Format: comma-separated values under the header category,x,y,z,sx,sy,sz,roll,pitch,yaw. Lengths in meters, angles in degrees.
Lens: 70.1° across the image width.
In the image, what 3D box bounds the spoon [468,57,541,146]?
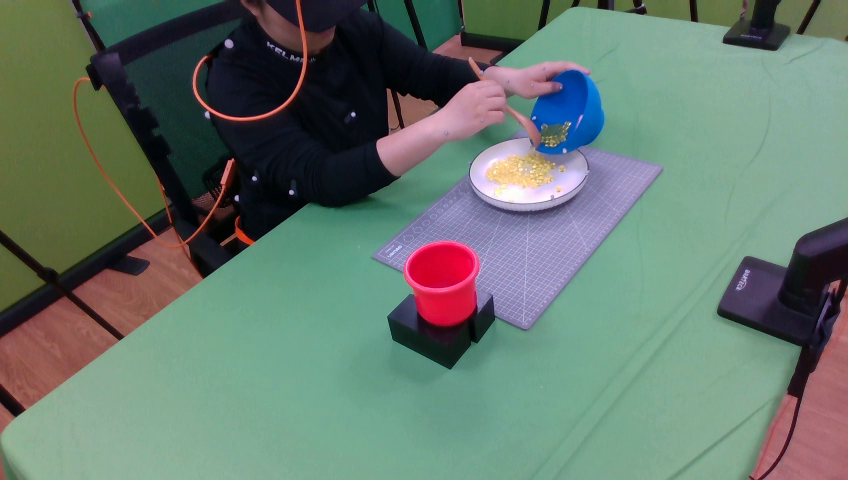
category,x,y,z,sx,sy,sz,roll,pitch,yaw
spoon,0.137,-0.233,1.025,0.021,0.194,0.041,-36,20,37

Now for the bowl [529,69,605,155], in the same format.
category,x,y,z,sx,sy,sz,roll,pitch,yaw
bowl,0.262,-0.213,1.060,0.077,0.151,0.150,16,31,-28

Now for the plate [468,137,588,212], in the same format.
category,x,y,z,sx,sy,sz,roll,pitch,yaw
plate,0.182,-0.112,1.064,0.207,0.039,0.206,-5,40,5
